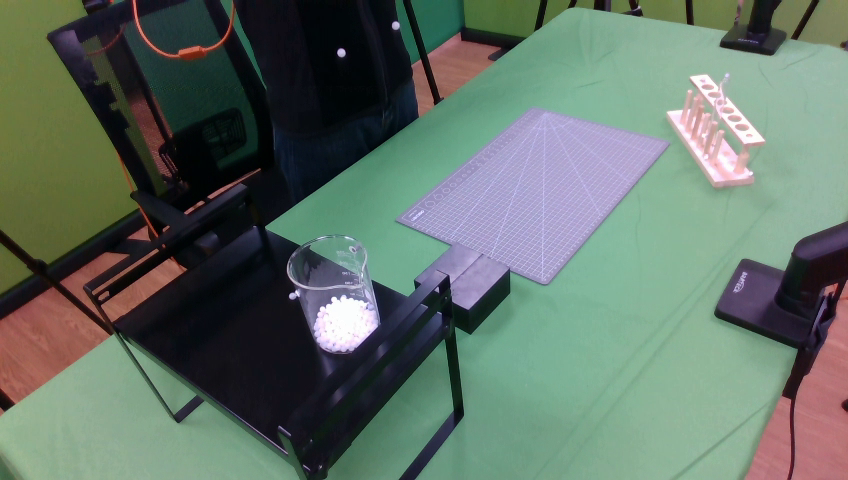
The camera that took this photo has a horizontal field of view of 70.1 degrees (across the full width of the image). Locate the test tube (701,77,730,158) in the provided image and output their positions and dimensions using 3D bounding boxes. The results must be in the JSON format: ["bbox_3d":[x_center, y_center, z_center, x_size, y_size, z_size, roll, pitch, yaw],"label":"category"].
[{"bbox_3d":[0.491,-0.204,1.020,0.017,0.151,0.017,-4,41,4],"label":"test tube"}]

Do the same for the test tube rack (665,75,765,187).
[{"bbox_3d":[0.512,-0.201,1.082,0.067,0.085,0.241,-6,41,2],"label":"test tube rack"}]

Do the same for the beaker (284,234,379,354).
[{"bbox_3d":[-0.083,0.056,0.585,0.083,0.101,0.074,28,53,33],"label":"beaker"}]
